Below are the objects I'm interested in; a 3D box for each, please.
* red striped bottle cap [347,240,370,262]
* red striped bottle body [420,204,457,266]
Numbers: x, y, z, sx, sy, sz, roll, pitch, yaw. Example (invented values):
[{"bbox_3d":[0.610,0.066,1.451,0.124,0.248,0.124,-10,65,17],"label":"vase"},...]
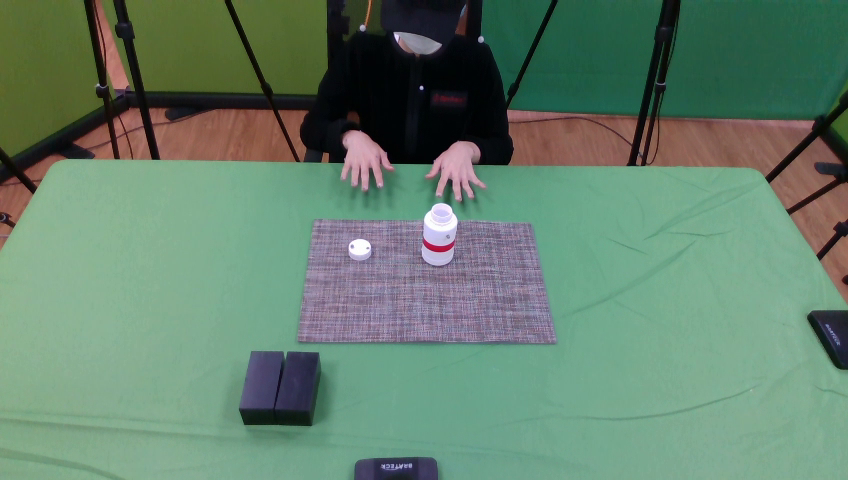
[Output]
[{"bbox_3d":[-0.127,0.020,1.169,0.044,0.018,0.044,3,49,-3],"label":"red striped bottle cap"},{"bbox_3d":[0.027,-0.011,1.138,0.063,0.120,0.062,3,45,-3],"label":"red striped bottle body"}]
